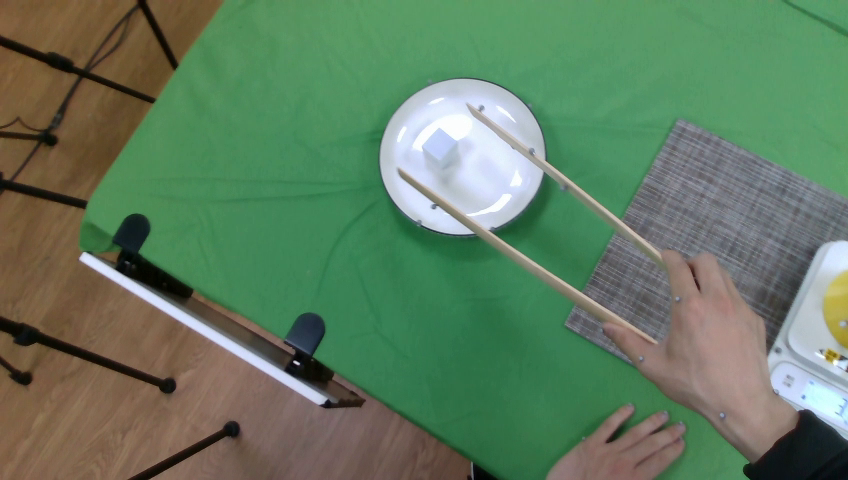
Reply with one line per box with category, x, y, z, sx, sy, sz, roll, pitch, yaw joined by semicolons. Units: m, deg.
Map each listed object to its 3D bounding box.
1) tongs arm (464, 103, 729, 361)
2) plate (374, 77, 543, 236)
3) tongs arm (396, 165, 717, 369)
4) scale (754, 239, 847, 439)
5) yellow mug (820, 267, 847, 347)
tongs arm;0.147;-0.030;0.607;0.051;0.027;0.380;-41;56;-6
plate;0.043;-0.102;0.761;0.207;0.039;0.206;-1;78;5
tongs arm;0.102;0.013;0.601;0.028;0.028;0.383;-45;56;-13
scale;0.477;0.111;0.673;0.148;0.032;0.200;29;82;11
yellow mug;0.479;0.083;0.631;0.100;0.064;0.130;19;81;8
